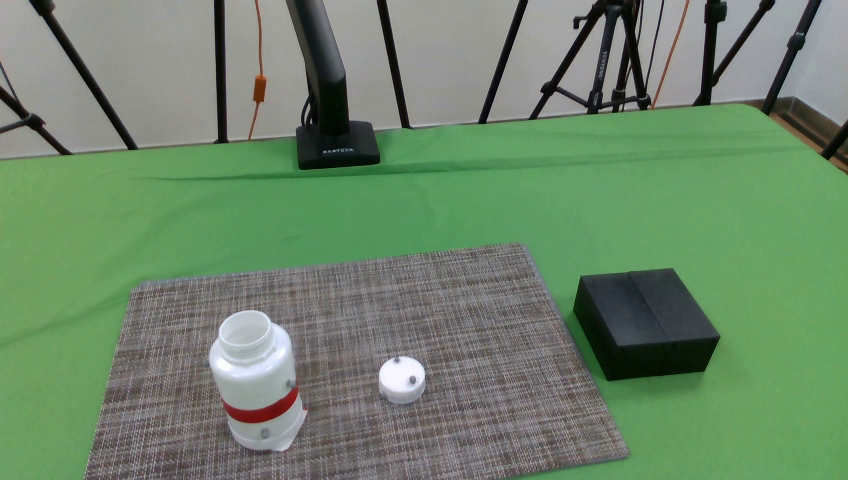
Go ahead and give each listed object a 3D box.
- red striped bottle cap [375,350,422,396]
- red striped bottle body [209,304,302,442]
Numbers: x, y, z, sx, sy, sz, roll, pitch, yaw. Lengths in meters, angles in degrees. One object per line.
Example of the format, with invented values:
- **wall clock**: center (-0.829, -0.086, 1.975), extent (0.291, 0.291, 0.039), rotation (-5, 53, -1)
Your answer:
- **red striped bottle cap**: center (-0.024, 0.124, 0.568), extent (0.044, 0.018, 0.044), rotation (6, 37, -4)
- **red striped bottle body**: center (-0.139, 0.108, 0.502), extent (0.063, 0.121, 0.062), rotation (1, 39, 0)
